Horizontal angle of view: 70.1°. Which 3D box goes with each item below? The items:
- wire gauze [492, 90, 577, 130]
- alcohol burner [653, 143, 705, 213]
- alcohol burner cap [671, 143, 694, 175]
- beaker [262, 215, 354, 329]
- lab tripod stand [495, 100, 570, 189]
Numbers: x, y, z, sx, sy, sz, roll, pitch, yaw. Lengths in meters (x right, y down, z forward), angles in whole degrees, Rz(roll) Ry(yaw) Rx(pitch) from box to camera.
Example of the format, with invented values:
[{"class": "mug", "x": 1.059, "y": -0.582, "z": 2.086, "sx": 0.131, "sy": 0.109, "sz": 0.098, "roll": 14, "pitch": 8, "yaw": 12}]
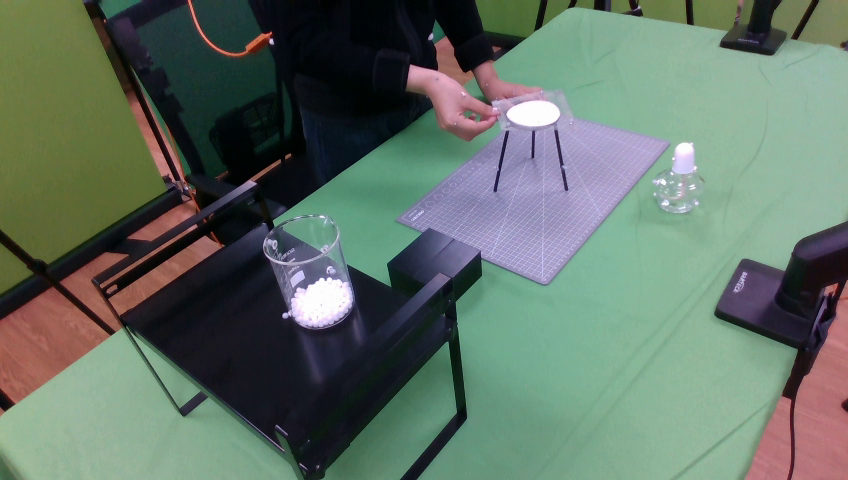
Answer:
[{"class": "wire gauze", "x": 0.181, "y": -0.214, "z": 1.002, "sx": 0.125, "sy": 0.011, "sz": 0.121, "roll": -5, "pitch": 40, "yaw": 2}, {"class": "alcohol burner", "x": 0.408, "y": -0.102, "z": 0.963, "sx": 0.078, "sy": 0.119, "sz": 0.077, "roll": -5, "pitch": 42, "yaw": 5}, {"class": "alcohol burner cap", "x": 0.403, "y": -0.129, "z": 0.941, "sx": 0.034, "sy": 0.048, "sz": 0.033, "roll": -9, "pitch": 40, "yaw": 8}, {"class": "beaker", "x": -0.112, "y": 0.034, "z": 0.616, "sx": 0.073, "sy": 0.101, "sz": 0.084, "roll": 13, "pitch": 44, "yaw": 23}, {"class": "lab tripod stand", "x": 0.186, "y": -0.161, "z": 1.043, "sx": 0.148, "sy": 0.132, "sz": 0.147, "roll": -5, "pitch": 43, "yaw": 5}]
